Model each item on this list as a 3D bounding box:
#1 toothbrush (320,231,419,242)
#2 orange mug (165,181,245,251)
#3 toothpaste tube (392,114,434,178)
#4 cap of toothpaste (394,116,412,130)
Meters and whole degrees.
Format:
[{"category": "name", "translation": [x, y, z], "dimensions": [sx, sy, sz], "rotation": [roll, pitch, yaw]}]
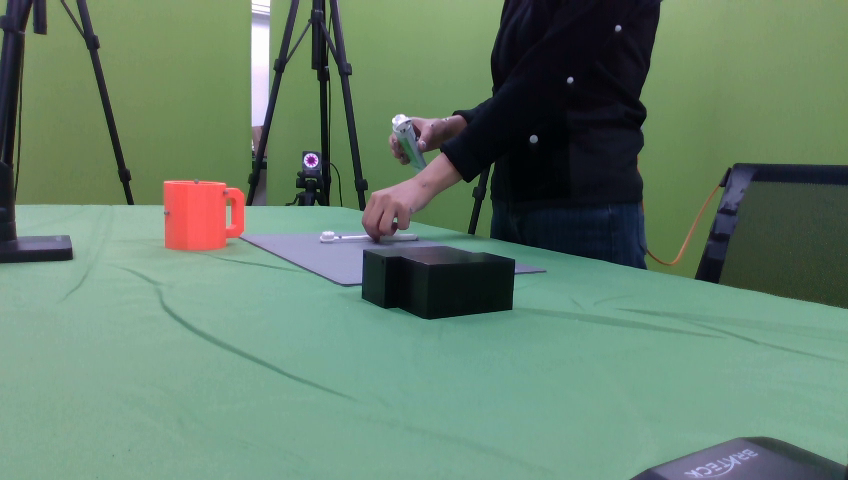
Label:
[{"category": "toothbrush", "translation": [-0.088, -0.007, 1.023], "dimensions": [0.183, 0.016, 0.014], "rotation": [-1, 41, -29]}, {"category": "orange mug", "translation": [-0.326, -0.040, 0.911], "dimensions": [0.083, 0.101, 0.127], "rotation": [8, 14, 37]}, {"category": "toothpaste tube", "translation": [-0.022, -0.178, 1.149], "dimensions": [0.055, 0.034, 0.165], "rotation": [35, -16, 34]}, {"category": "cap of toothpaste", "translation": [-0.038, -0.208, 1.066], "dimensions": [0.037, 0.011, 0.037], "rotation": [-27, -7, -3]}]
